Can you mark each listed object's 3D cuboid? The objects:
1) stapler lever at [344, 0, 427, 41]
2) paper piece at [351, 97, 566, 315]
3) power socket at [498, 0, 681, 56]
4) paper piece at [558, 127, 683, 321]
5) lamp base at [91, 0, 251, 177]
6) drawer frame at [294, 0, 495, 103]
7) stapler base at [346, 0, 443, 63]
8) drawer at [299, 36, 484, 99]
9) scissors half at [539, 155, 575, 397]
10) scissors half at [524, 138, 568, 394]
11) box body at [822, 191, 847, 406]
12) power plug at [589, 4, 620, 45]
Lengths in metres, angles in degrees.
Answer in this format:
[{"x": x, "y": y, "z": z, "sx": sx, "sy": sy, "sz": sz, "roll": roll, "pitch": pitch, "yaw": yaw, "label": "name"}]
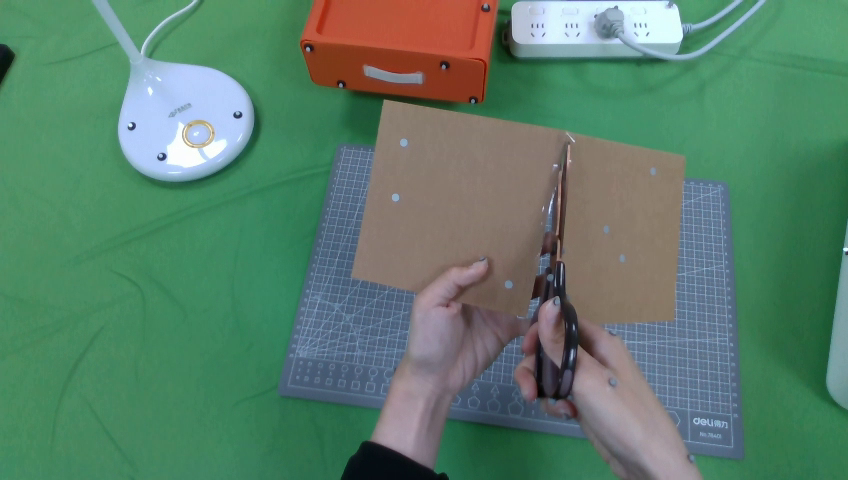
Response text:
[{"x": -0.046, "y": -0.261, "z": 0.684, "sx": 0.117, "sy": 0.040, "sz": 0.027, "roll": 36, "pitch": 88, "yaw": 20, "label": "stapler lever"}, {"x": 0.020, "y": -0.025, "z": 0.436, "sx": 0.135, "sy": 0.008, "sz": 0.138, "roll": 14, "pitch": 101, "yaw": 14, "label": "paper piece"}, {"x": 0.208, "y": -0.268, "z": 0.761, "sx": 0.227, "sy": 0.033, "sz": 0.071, "roll": 1, "pitch": 67, "yaw": 2, "label": "power socket"}, {"x": 0.148, "y": -0.007, "z": 0.452, "sx": 0.136, "sy": 0.004, "sz": 0.135, "roll": 3, "pitch": 93, "yaw": -32, "label": "paper piece"}, {"x": -0.300, "y": -0.184, "z": 0.660, "sx": 0.178, "sy": 0.181, "sz": 0.160, "roll": 38, "pitch": 72, "yaw": 20, "label": "lamp base"}, {"x": -0.021, "y": -0.275, "z": 0.697, "sx": 0.201, "sy": 0.083, "sz": 0.212, "roll": 7, "pitch": 66, "yaw": 6, "label": "drawer frame"}, {"x": -0.037, "y": -0.255, "z": 0.708, "sx": 0.129, "sy": 0.024, "sz": 0.041, "roll": 36, "pitch": 88, "yaw": 19, "label": "stapler base"}, {"x": -0.019, "y": -0.273, "z": 0.696, "sx": 0.194, "sy": 0.074, "sz": 0.210, "roll": 8, "pitch": 66, "yaw": 6, "label": "drawer"}, {"x": 0.087, "y": 0.012, "z": 0.390, "sx": 0.013, "sy": 0.040, "sz": 0.174, "roll": 9, "pitch": 64, "yaw": -6, "label": "scissors half"}, {"x": 0.085, "y": 0.017, "z": 0.412, "sx": 0.013, "sy": 0.040, "sz": 0.175, "roll": 8, "pitch": 92, "yaw": -1, "label": "scissors half"}, {"x": 0.546, "y": 0.013, "z": 0.555, "sx": 0.253, "sy": 0.161, "sz": 0.362, "roll": 19, "pitch": 68, "yaw": 10, "label": "box body"}, {"x": 0.216, "y": -0.251, "z": 0.728, "sx": 0.035, "sy": 0.053, "sz": 0.072, "roll": 11, "pitch": 67, "yaw": 7, "label": "power plug"}]
